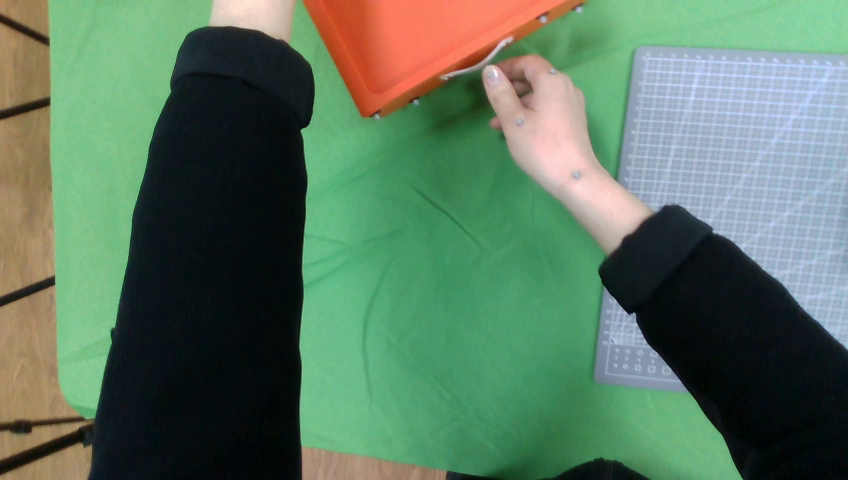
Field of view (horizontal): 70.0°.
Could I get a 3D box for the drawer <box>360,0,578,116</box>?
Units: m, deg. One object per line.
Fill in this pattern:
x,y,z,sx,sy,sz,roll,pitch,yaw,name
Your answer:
-0.009,-0.235,0.475,0.194,0.073,0.212,-27,95,13,drawer

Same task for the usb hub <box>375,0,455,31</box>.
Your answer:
0.017,-0.217,0.484,0.125,0.025,0.050,-19,110,20,usb hub

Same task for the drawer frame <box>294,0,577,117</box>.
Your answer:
-0.013,-0.236,0.470,0.201,0.082,0.214,-28,96,12,drawer frame
